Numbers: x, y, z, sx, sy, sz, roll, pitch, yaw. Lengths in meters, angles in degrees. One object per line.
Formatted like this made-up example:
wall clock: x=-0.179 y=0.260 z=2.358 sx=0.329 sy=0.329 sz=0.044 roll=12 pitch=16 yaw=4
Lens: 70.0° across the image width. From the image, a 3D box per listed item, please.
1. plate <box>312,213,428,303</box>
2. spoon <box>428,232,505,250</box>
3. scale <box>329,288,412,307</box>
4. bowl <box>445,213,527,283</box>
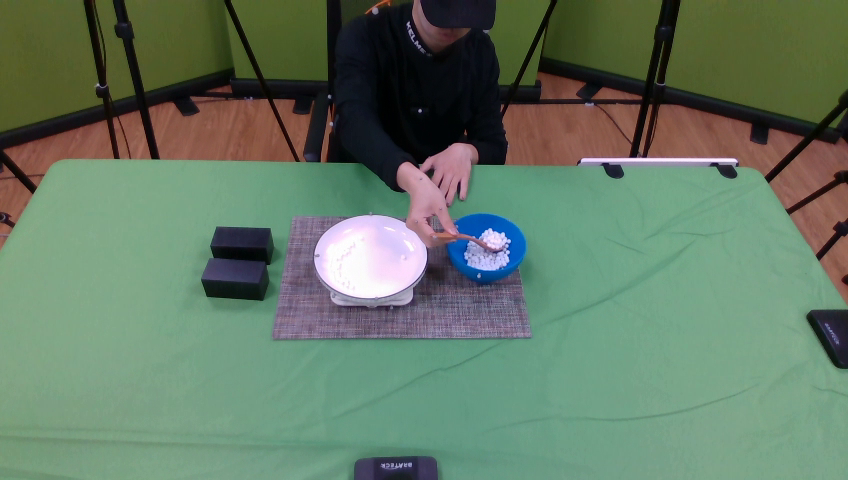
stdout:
plate: x=-0.097 y=0.036 z=1.100 sx=0.209 sy=0.038 sz=0.208 roll=2 pitch=46 yaw=-2
spoon: x=0.078 y=-0.002 z=1.092 sx=0.194 sy=0.021 sz=0.041 roll=10 pitch=24 yaw=-44
scale: x=-0.099 y=0.042 z=1.140 sx=0.149 sy=0.032 sz=0.199 roll=1 pitch=46 yaw=-4
bowl: x=0.112 y=0.028 z=1.137 sx=0.151 sy=0.077 sz=0.150 roll=2 pitch=46 yaw=-2
